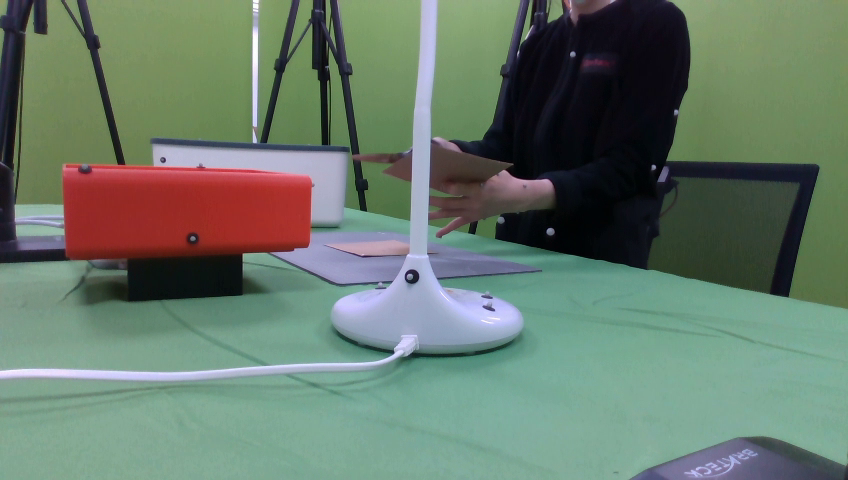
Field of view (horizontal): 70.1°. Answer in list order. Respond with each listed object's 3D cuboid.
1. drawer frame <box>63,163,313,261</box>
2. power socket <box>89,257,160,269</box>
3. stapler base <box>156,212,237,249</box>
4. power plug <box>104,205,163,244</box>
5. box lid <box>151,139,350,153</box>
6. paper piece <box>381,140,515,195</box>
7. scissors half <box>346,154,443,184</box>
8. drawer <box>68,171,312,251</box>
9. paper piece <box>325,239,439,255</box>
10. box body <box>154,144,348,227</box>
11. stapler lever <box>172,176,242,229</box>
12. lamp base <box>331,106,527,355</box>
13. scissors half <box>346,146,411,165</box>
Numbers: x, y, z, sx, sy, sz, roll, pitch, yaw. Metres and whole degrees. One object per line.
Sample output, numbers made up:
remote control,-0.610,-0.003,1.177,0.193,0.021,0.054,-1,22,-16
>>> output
drawer frame,-0.248,-0.036,0.626,0.215,0.082,0.200,-3,9,-31
power socket,-0.409,0.004,0.793,0.072,0.032,0.225,-2,8,-38
stapler base,-0.227,-0.017,0.624,0.041,0.024,0.130,18,10,-2
power plug,-0.390,-0.021,0.815,0.073,0.052,0.035,-1,7,-27
box lid,-0.352,-0.191,1.256,0.373,0.015,0.262,0,8,-18
paper piece,0.030,-0.097,0.829,0.139,0.008,0.135,13,-16,-27
scissors half,-0.044,-0.117,0.960,0.176,0.040,0.012,7,-3,-32
drawer,-0.247,-0.036,0.629,0.213,0.073,0.193,-3,9,-30
paper piece,-0.068,0.011,0.937,0.136,0.004,0.134,-2,9,-34
box body,-0.357,-0.119,1.264,0.365,0.160,0.253,0,7,-18
stapler lever,-0.217,-0.041,0.618,0.027,0.040,0.118,18,11,-2
lamp base,0.006,-0.012,0.478,0.161,0.180,0.179,2,10,2
scissors half,-0.045,-0.137,0.960,0.176,0.040,0.013,-13,3,-33
